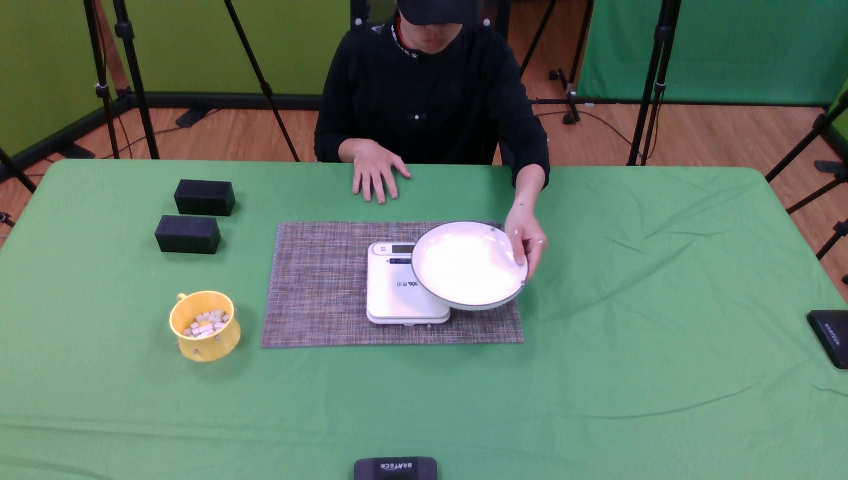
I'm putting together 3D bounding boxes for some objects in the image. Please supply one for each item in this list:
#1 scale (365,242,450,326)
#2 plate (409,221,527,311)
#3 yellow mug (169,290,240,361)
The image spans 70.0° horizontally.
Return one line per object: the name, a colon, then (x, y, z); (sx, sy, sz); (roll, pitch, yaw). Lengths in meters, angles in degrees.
scale: (-0.032, 0.071, 1.113); (0.149, 0.032, 0.199); (0, 46, -4)
plate: (0.076, 0.048, 1.066); (0.209, 0.038, 0.208); (2, 44, -2)
yellow mug: (-0.373, 0.132, 1.009); (0.130, 0.064, 0.100); (35, 53, 27)
